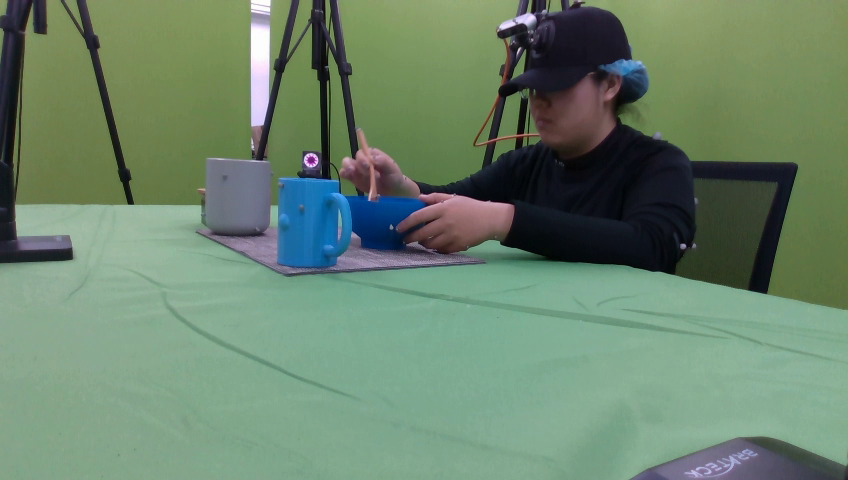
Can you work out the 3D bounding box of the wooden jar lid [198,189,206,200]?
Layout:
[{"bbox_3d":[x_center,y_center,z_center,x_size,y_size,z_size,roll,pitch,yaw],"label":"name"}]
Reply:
[{"bbox_3d":[-0.382,-0.088,1.175,0.108,0.020,0.108,3,8,0],"label":"wooden jar lid"}]

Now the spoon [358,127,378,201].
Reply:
[{"bbox_3d":[-0.088,-0.110,1.010,0.021,0.193,0.042,-20,-25,22],"label":"spoon"}]

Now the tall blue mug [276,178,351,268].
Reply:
[{"bbox_3d":[-0.133,-0.022,0.767,0.107,0.108,0.078,4,7,12],"label":"tall blue mug"}]

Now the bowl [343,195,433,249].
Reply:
[{"bbox_3d":[-0.063,-0.028,0.962,0.151,0.077,0.151,3,7,0],"label":"bowl"}]

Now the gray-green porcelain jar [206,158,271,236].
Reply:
[{"bbox_3d":[-0.316,-0.074,1.031,0.106,0.126,0.106,3,7,0],"label":"gray-green porcelain jar"}]
